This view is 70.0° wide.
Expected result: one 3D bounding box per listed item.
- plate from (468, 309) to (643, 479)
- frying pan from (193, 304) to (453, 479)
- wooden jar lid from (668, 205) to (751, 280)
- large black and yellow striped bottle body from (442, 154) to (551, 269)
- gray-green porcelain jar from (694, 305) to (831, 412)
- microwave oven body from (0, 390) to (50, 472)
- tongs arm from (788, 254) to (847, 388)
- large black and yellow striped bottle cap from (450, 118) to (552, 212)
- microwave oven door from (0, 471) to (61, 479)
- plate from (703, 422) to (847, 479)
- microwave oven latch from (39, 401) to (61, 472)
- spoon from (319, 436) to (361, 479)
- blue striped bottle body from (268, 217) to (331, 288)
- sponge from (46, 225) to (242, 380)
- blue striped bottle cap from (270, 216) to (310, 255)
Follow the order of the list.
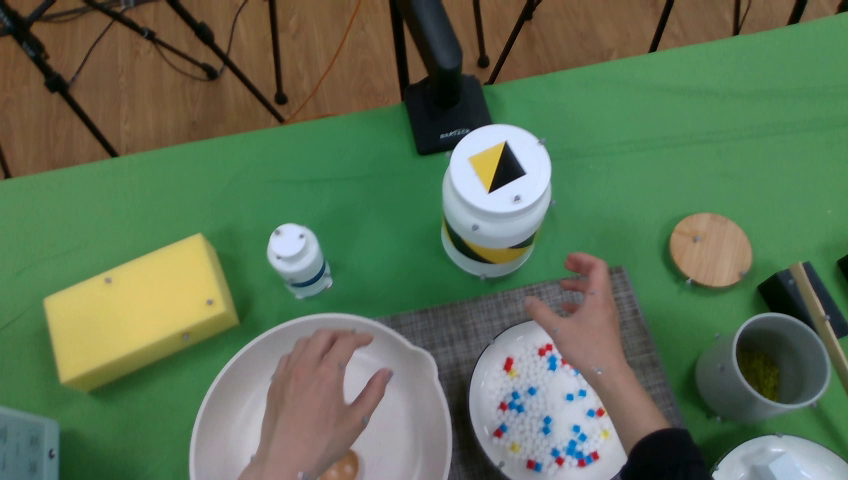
[{"bbox_3d":[0.157,0.187,0.738,0.209,0.038,0.207,0,68,1],"label":"plate"},{"bbox_3d":[-0.052,0.294,0.662,0.307,0.103,0.483,-34,63,-11],"label":"frying pan"},{"bbox_3d":[0.386,0.005,0.825,0.108,0.021,0.107,0,69,1],"label":"wooden jar lid"},{"bbox_3d":[0.088,-0.053,0.763,0.131,0.185,0.130,0,67,1],"label":"large black and yellow striped bottle body"},{"bbox_3d":[0.386,0.144,0.710,0.106,0.127,0.105,0,67,1],"label":"gray-green porcelain jar"},{"bbox_3d":[-0.557,0.381,0.546,0.326,0.262,0.438,-11,68,-4],"label":"microwave oven body"},{"bbox_3d":[0.531,0.191,0.707,0.051,0.026,0.383,-16,78,-8],"label":"tongs arm"},{"bbox_3d":[0.086,-0.086,0.684,0.115,0.019,0.114,-1,66,2],"label":"large black and yellow striped bottle cap"},{"bbox_3d":[-0.406,0.389,0.536,0.039,0.245,0.353,-12,67,-4],"label":"microwave oven door"},{"bbox_3d":[0.416,0.315,0.687,0.208,0.039,0.206,0,67,1],"label":"plate"},{"bbox_3d":[-0.447,0.231,0.711,0.030,0.030,0.078,-9,68,-3],"label":"microwave oven latch"},{"bbox_3d":[-0.128,0.298,0.667,0.041,0.022,0.193,30,44,8],"label":"spoon"},{"bbox_3d":[-0.159,0.013,0.773,0.063,0.121,0.062,0,67,1],"label":"blue striped bottle body"},{"bbox_3d":[-0.357,0.080,0.780,0.207,0.061,0.117,-24,70,-10],"label":"sponge"},{"bbox_3d":[-0.160,-0.006,0.725,0.044,0.021,0.044,-1,65,3],"label":"blue striped bottle cap"}]
